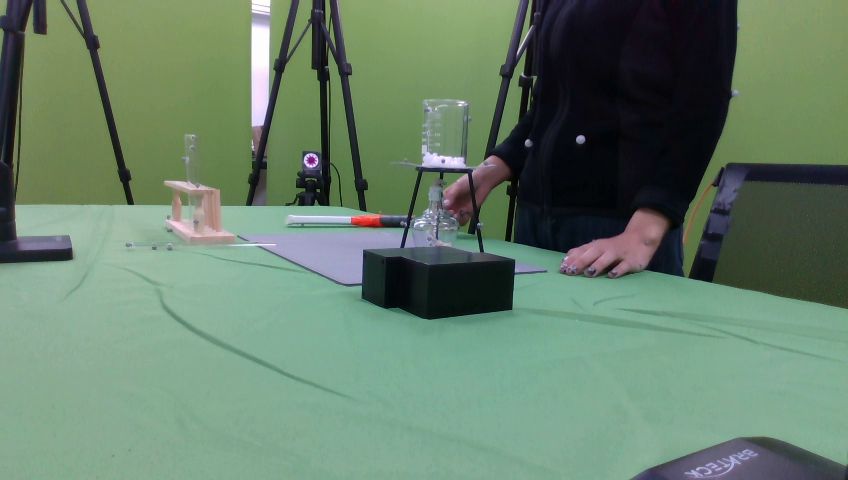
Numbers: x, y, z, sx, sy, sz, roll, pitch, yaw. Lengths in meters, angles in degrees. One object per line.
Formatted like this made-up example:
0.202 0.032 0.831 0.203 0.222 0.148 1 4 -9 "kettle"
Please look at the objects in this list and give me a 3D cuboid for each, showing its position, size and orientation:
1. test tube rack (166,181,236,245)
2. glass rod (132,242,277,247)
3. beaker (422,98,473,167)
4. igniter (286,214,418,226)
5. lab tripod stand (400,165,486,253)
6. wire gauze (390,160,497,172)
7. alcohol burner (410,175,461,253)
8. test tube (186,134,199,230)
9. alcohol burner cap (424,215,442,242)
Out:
-0.383 -0.051 1.024 0.067 0.085 0.241 -2 9 -31 "test tube rack"
-0.316 0.007 0.885 0.201 0.008 0.008 0 7 -27 "glass rod"
0.031 -0.162 0.919 0.074 0.100 0.083 -4 9 -36 "beaker"
-0.146 -0.043 1.263 0.278 0.025 0.057 -1 -2 -24 "igniter"
0.027 -0.049 0.930 0.148 0.131 0.148 2 9 0 "lab tripod stand"
0.028 -0.114 0.920 0.122 0.011 0.124 -5 13 -34 "wire gauze"
0.018 -0.040 0.931 0.078 0.119 0.078 0 7 0 "alcohol burner"
-0.360 -0.089 0.946 0.017 0.150 0.017 0 10 0 "test tube"
0.017 -0.022 1.098 0.034 0.048 0.034 2 9 0 "alcohol burner cap"
